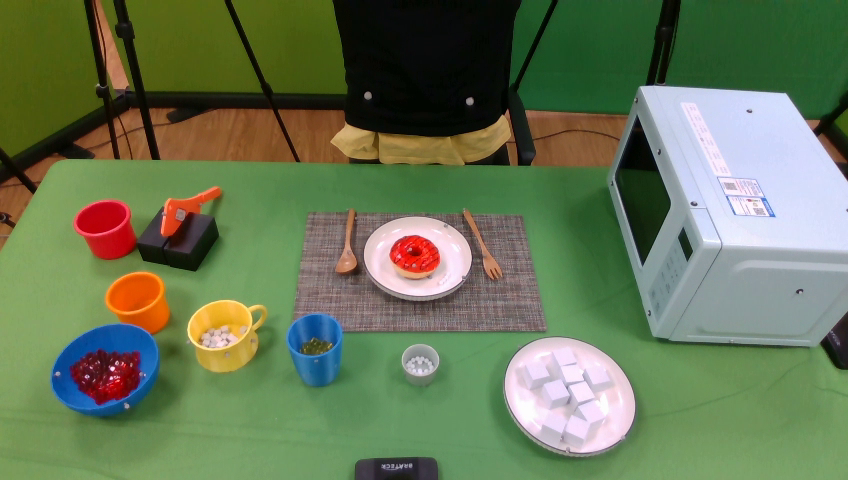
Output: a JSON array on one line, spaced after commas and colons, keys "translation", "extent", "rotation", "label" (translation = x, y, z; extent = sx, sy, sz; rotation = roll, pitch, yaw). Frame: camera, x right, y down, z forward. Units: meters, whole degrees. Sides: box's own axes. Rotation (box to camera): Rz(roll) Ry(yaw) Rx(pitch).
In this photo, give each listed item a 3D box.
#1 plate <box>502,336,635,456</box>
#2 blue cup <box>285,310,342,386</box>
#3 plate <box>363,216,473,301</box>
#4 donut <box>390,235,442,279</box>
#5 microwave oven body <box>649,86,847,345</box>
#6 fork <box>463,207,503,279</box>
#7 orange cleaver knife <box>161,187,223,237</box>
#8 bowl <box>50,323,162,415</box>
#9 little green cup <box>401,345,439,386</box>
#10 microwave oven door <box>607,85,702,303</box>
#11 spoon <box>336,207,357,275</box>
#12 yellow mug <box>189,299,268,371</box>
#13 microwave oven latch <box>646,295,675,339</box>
[{"translation": [0.225, 0.248, 0.963], "extent": [0.208, 0.039, 0.206], "rotation": [2, 46, -2], "label": "plate"}, {"translation": [-0.170, 0.179, 0.958], "extent": [0.093, 0.101, 0.092], "rotation": [2, 44, -1], "label": "blue cup"}, {"translation": [-0.012, 0.038, 1.145], "extent": [0.209, 0.038, 0.208], "rotation": [2, 46, -2], "label": "plate"}, {"translation": [-0.016, 0.031, 1.135], "extent": [0.099, 0.048, 0.098], "rotation": [4, 44, -3], "label": "donut"}, {"translation": [0.568, -0.053, 1.118], "extent": [0.326, 0.261, 0.439], "rotation": [2, 45, -1], "label": "microwave oven body"}, {"translation": [0.112, 0.003, 1.200], "extent": [0.028, 0.019, 0.206], "rotation": [-19, 50, -2], "label": "fork"}, {"translation": [-0.448, -0.059, 1.181], "extent": [0.012, 0.077, 0.211], "rotation": [14, 17, 6], "label": "orange cleaver knife"}, {"translation": [-0.472, 0.209, 0.924], "extent": [0.151, 0.077, 0.150], "rotation": [3, 45, -2], "label": "bowl"}, {"translation": [-0.007, 0.206, 0.988], "extent": [0.061, 0.039, 0.061], "rotation": [2, 46, -2], "label": "little green cup"}, {"translation": [0.423, -0.094, 1.141], "extent": [0.039, 0.245, 0.353], "rotation": [2, 46, -1], "label": "microwave oven door"}, {"translation": [-0.147, -0.002, 1.184], "extent": [0.041, 0.022, 0.192], "rotation": [-16, 45, 14], "label": "spoon"}, {"translation": [-0.316, 0.148, 1.002], "extent": [0.131, 0.064, 0.099], "rotation": [-32, 56, -31], "label": "yellow mug"}, {"translation": [0.412, 0.134, 1.061], "extent": [0.030, 0.029, 0.078], "rotation": [4, 45, 1], "label": "microwave oven latch"}]
